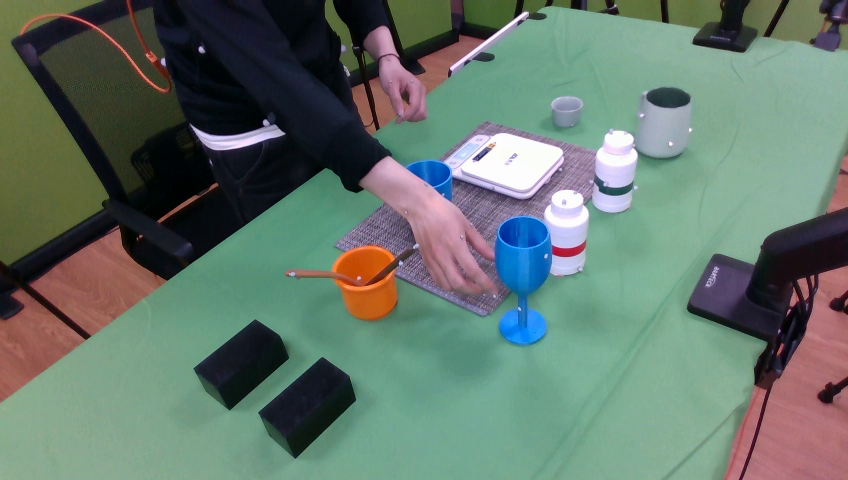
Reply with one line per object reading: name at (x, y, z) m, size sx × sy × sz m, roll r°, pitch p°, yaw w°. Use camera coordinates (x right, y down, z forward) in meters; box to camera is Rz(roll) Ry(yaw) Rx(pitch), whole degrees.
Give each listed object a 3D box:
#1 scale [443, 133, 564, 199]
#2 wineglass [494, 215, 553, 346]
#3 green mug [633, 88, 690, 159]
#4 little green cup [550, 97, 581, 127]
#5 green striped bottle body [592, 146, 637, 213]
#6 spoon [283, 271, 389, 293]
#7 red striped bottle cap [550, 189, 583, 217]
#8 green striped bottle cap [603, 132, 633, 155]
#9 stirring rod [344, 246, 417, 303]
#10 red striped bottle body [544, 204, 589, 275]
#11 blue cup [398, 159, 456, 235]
scale at (0.137, -0.142, 1.101) m, size 0.199 × 0.032 × 0.149 m, roll 22°, pitch 48°, yaw 30°
wineglass at (0.127, 0.054, 0.771) m, size 0.074 × 0.173 × 0.073 m, roll -4°, pitch 41°, yaw 4°
green mug at (0.423, -0.217, 1.099) m, size 0.093 × 0.105 × 0.124 m, roll -16°, pitch 41°, yaw -9°
little green cup at (0.284, -0.255, 1.213) m, size 0.061 × 0.039 × 0.061 m, roll -5°, pitch 41°, yaw 5°
green striped bottle body at (0.307, -0.108, 0.976) m, size 0.063 × 0.120 × 0.063 m, roll -4°, pitch 41°, yaw 4°
spoon at (-0.117, 0.054, 0.825) m, size 0.041 × 0.195 × 0.021 m, roll 16°, pitch 89°, yaw 37°
red striped bottle cap at (0.199, -0.052, 0.843) m, size 0.044 × 0.018 × 0.044 m, roll -2°, pitch 42°, yaw 2°
green striped bottle cap at (0.302, -0.149, 0.938) m, size 0.044 × 0.020 × 0.044 m, roll -3°, pitch 39°, yaw 3°
stirring rod at (-0.062, 0.050, 0.819) m, size 0.014 × 0.175 × 0.006 m, roll -2°, pitch 63°, yaw -40°
red striped bottle body at (0.206, -0.011, 0.877) m, size 0.063 × 0.120 × 0.062 m, roll -5°, pitch 41°, yaw 4°
blue cup at (0.006, -0.065, 0.977) m, size 0.092 × 0.100 × 0.092 m, roll -4°, pitch 39°, yaw 4°
